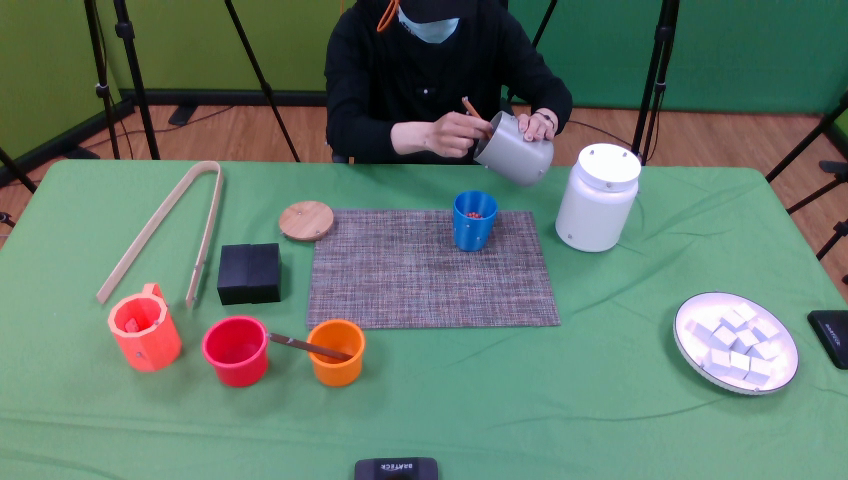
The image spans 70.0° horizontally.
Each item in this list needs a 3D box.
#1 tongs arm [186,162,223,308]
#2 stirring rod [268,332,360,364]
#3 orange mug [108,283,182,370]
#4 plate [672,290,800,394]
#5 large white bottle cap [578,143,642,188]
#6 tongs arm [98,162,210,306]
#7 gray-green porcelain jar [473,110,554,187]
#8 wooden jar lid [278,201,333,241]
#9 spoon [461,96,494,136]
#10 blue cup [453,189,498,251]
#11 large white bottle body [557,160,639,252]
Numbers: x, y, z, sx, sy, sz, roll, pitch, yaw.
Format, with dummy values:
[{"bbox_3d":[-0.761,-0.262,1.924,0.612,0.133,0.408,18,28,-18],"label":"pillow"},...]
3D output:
[{"bbox_3d":[-0.435,-0.025,1.180,0.051,0.027,0.382,-4,46,1],"label":"tongs arm"},{"bbox_3d":[-0.167,0.169,0.941,0.177,0.006,0.014,26,26,-41],"label":"stirring rod"},{"bbox_3d":[-0.445,0.133,0.983,0.083,0.101,0.125,-1,50,-5],"label":"orange mug"},{"bbox_3d":[0.533,0.178,1.050,0.208,0.039,0.206,2,46,-2],"label":"plate"},{"bbox_3d":[0.344,-0.139,1.123,0.115,0.018,0.114,2,46,-2],"label":"large white bottle cap"},{"bbox_3d":[-0.519,-0.026,1.185,0.028,0.028,0.385,4,46,14],"label":"tongs arm"},{"bbox_3d":[0.173,-0.169,1.149,0.127,0.106,0.105,29,46,-10],"label":"gray-green porcelain jar"},{"bbox_3d":[-0.236,-0.036,1.213,0.108,0.021,0.107,0,47,0],"label":"wooden jar lid"},{"bbox_3d":[0.129,-0.195,1.139,0.021,0.194,0.041,-43,21,-13],"label":"spoon"},{"bbox_3d":[0.093,-0.033,1.173,0.093,0.101,0.092,3,45,-3],"label":"blue cup"},{"bbox_3d":[0.340,-0.081,1.185,0.131,0.185,0.130,2,46,-1],"label":"large white bottle body"}]
